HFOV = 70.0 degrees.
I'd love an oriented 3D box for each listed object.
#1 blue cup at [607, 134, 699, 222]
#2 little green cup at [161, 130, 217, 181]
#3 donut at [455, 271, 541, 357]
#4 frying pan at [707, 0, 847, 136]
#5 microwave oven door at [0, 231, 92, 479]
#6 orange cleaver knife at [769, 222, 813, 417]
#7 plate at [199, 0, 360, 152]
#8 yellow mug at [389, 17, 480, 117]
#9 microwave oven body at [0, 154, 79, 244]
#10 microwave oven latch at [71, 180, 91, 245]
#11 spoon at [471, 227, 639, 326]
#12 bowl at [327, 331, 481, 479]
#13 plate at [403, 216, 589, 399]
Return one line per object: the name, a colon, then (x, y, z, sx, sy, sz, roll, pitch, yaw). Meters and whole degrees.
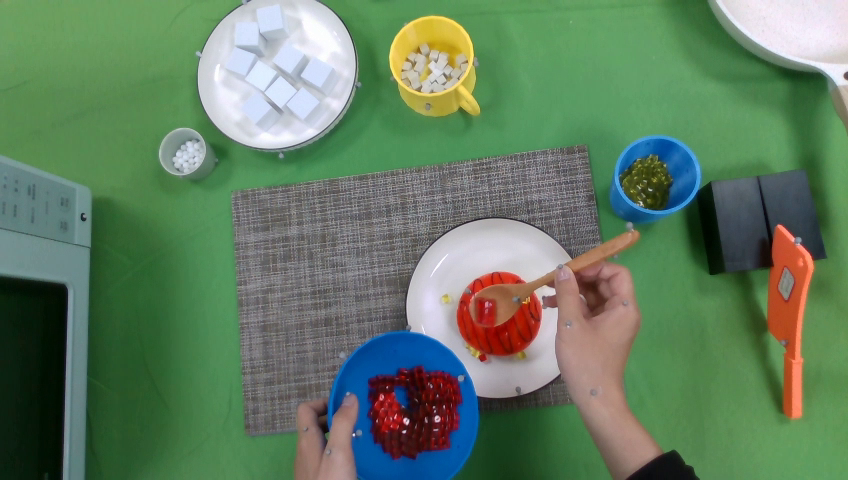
blue cup: (0.244, -0.059, 0.672, 0.092, 0.100, 0.092, -1, 80, 6)
little green cup: (-0.297, -0.105, 0.772, 0.061, 0.039, 0.061, -1, 82, 6)
donut: (0.084, 0.084, 0.687, 0.099, 0.048, 0.099, -1, 85, 7)
frying pan: (0.460, -0.226, 0.668, 0.306, 0.103, 0.485, -2, 74, 8)
microwave oven door: (-0.442, 0.168, 0.631, 0.039, 0.245, 0.354, -4, 81, 7)
orange cleaver knife: (0.386, 0.087, 0.644, 0.012, 0.077, 0.212, -8, 110, 6)
plate: (-0.181, -0.211, 0.776, 0.207, 0.039, 0.207, -1, 82, 7)
yellow mug: (0.022, -0.198, 0.736, 0.100, 0.064, 0.130, -44, 80, -1)
microwave oven body: (-0.589, 0.137, 0.657, 0.326, 0.261, 0.440, -4, 82, 6)
microwave oven latch: (-0.440, -0.034, 0.762, 0.030, 0.029, 0.079, -1, 82, 6)
spoon: (0.119, 0.037, 0.577, 0.193, 0.022, 0.041, -33, 78, 40)
bowl: (-0.029, 0.171, 0.601, 0.152, 0.077, 0.150, 8, 68, -20)
plate: (0.082, 0.077, 0.700, 0.209, 0.038, 0.208, -1, 83, 7)
